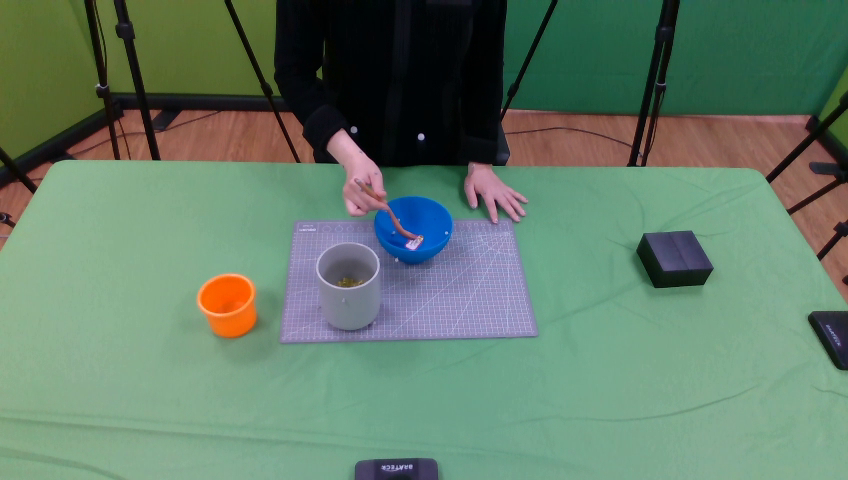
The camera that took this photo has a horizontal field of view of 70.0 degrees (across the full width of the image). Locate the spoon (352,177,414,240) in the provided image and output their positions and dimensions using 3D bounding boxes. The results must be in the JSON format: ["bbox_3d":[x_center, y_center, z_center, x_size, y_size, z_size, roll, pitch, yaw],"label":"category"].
[{"bbox_3d":[-0.072,-0.056,1.095,0.021,0.195,0.041,-41,43,-3],"label":"spoon"}]

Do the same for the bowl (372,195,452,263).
[{"bbox_3d":[-0.023,-0.008,1.161,0.151,0.077,0.150,2,46,-2],"label":"bowl"}]

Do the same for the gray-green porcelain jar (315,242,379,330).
[{"bbox_3d":[-0.129,0.084,1.031,0.106,0.127,0.105,2,46,-2],"label":"gray-green porcelain jar"}]
